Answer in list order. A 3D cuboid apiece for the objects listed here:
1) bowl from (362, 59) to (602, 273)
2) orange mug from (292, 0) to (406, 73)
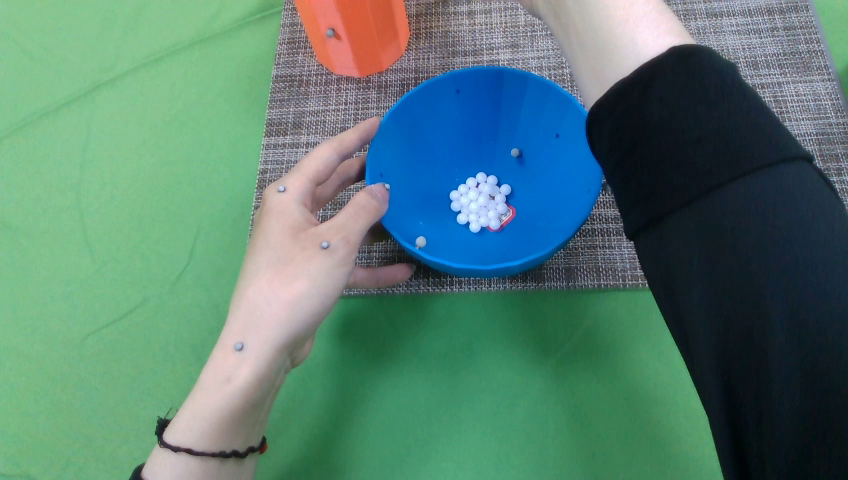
[{"bbox_3d":[0.039,-0.038,0.412,0.151,0.077,0.150,-2,66,6],"label":"bowl"},{"bbox_3d":[-0.060,-0.217,0.493,0.083,0.101,0.125,9,71,11],"label":"orange mug"}]
